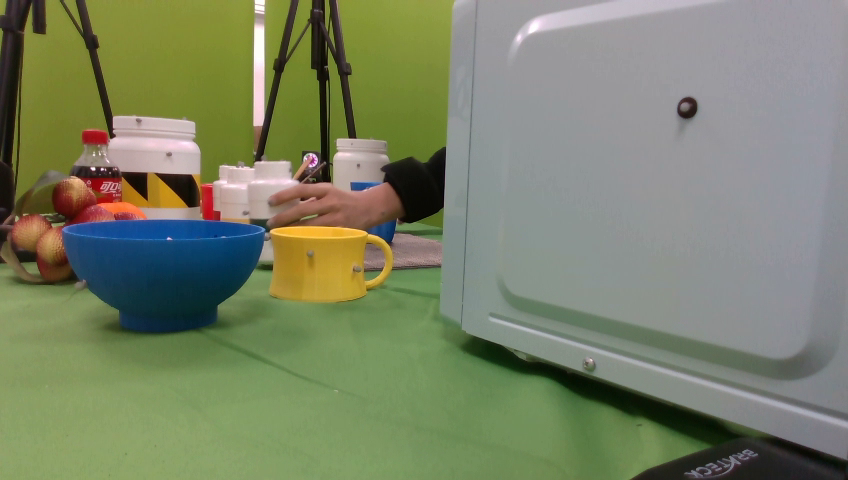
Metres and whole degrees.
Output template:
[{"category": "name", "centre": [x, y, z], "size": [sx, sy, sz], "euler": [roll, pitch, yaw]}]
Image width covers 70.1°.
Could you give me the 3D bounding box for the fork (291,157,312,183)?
[{"category": "fork", "centre": [-0.289, -0.116, 1.321], "size": [0.028, 0.019, 0.207], "euler": [6, 51, 19]}]

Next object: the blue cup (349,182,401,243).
[{"category": "blue cup", "centre": [-0.082, -0.047, 1.009], "size": [0.093, 0.100, 0.092], "euler": [1, 6, 0]}]

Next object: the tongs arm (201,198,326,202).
[{"category": "tongs arm", "centre": [-0.433, -0.090, 1.508], "size": [0.390, 0.028, 0.028], "euler": [-1, 2, -29]}]

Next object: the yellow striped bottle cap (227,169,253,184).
[{"category": "yellow striped bottle cap", "centre": [-0.243, -0.086, 0.818], "size": [0.044, 0.018, 0.044], "euler": [4, 6, 0]}]

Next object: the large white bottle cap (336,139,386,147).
[{"category": "large white bottle cap", "centre": [-0.143, -0.219, 1.375], "size": [0.115, 0.018, 0.115], "euler": [2, 8, 0]}]

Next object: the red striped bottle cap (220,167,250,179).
[{"category": "red striped bottle cap", "centre": [-0.281, -0.100, 0.901], "size": [0.044, 0.017, 0.044], "euler": [-1, 5, 0]}]

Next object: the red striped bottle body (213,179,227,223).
[{"category": "red striped bottle body", "centre": [-0.284, -0.048, 0.909], "size": [0.063, 0.119, 0.063], "euler": [3, 12, 0]}]

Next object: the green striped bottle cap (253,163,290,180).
[{"category": "green striped bottle cap", "centre": [-0.188, -0.084, 0.744], "size": [0.044, 0.020, 0.044], "euler": [-2, 7, 1]}]

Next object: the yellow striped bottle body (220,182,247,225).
[{"category": "yellow striped bottle body", "centre": [-0.246, -0.036, 0.825], "size": [0.063, 0.120, 0.063], "euler": [3, 7, 0]}]

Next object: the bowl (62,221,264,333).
[{"category": "bowl", "centre": [-0.209, 0.029, 0.496], "size": [0.151, 0.077, 0.151], "euler": [2, 7, 0]}]

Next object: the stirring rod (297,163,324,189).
[{"category": "stirring rod", "centre": [-0.278, -0.105, 1.294], "size": [0.176, 0.006, 0.014], "euler": [-47, 25, -18]}]

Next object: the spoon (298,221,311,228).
[{"category": "spoon", "centre": [-0.232, -0.027, 1.116], "size": [0.041, 0.021, 0.193], "euler": [-22, 6, 4]}]

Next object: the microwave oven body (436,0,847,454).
[{"category": "microwave oven body", "centre": [0.279, -0.040, 0.465], "size": [0.444, 0.260, 0.324], "euler": [-3, 9, -41]}]

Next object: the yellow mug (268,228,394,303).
[{"category": "yellow mug", "centre": [-0.094, 0.023, 0.629], "size": [0.131, 0.064, 0.099], "euler": [0, 6, -22]}]

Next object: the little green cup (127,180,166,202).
[{"category": "little green cup", "centre": [-0.486, -0.086, 1.061], "size": [0.061, 0.038, 0.061], "euler": [1, 7, 0]}]

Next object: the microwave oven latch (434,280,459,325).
[{"category": "microwave oven latch", "centre": [0.044, 0.045, 0.470], "size": [0.079, 0.029, 0.030], "euler": [-2, 8, -39]}]

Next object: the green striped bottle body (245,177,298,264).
[{"category": "green striped bottle body", "centre": [-0.188, -0.032, 0.751], "size": [0.063, 0.119, 0.063], "euler": [0, 7, 0]}]

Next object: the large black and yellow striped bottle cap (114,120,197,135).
[{"category": "large black and yellow striped bottle cap", "centre": [-0.407, -0.171, 0.920], "size": [0.115, 0.019, 0.115], "euler": [2, 9, 0]}]

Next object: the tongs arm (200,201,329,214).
[{"category": "tongs arm", "centre": [-0.378, -0.079, 1.440], "size": [0.387, 0.026, 0.050], "euler": [-4, 8, -44]}]

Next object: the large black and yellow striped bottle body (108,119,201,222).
[{"category": "large black and yellow striped bottle body", "centre": [-0.412, -0.088, 0.930], "size": [0.131, 0.184, 0.130], "euler": [3, 7, 0]}]

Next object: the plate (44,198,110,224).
[{"category": "plate", "centre": [-0.617, -0.056, 1.179], "size": [0.209, 0.038, 0.209], "euler": [3, 7, 0]}]

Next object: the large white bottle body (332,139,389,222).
[{"category": "large white bottle body", "centre": [-0.145, -0.136, 1.387], "size": [0.131, 0.184, 0.130], "euler": [2, 7, 0]}]

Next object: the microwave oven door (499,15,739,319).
[{"category": "microwave oven door", "centre": [0.216, -0.065, 0.602], "size": [0.358, 0.243, 0.039], "euler": [-4, 11, -41]}]
